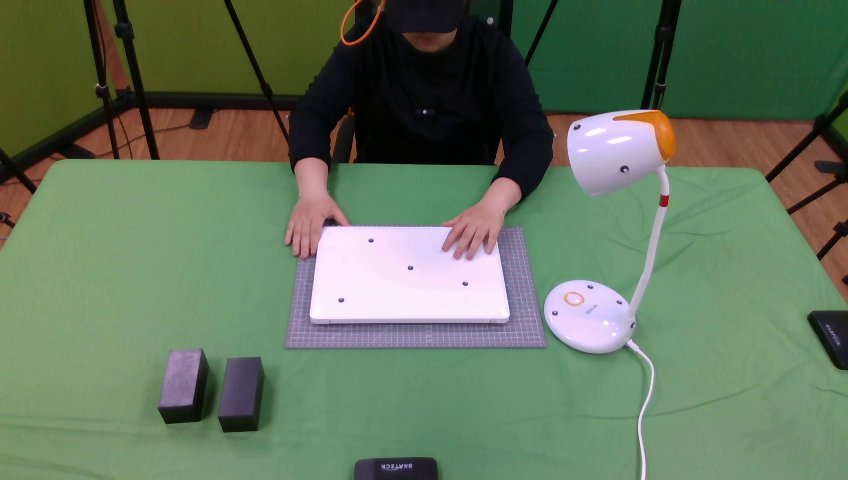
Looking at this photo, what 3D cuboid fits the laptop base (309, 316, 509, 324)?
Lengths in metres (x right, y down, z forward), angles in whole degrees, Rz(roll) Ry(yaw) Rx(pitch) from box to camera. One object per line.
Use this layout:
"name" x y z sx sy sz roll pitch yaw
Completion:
"laptop base" -0.028 0.065 1.136 0.355 0.023 0.234 0 42 -4

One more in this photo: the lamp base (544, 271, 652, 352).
"lamp base" 0.310 0.086 1.029 0.178 0.181 0.160 32 52 21

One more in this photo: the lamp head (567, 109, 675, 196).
"lamp head" 0.272 -0.123 0.818 0.122 0.113 0.112 -9 35 37

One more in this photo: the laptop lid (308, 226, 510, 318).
"laptop lid" -0.028 0.054 1.128 0.357 0.013 0.240 2 44 -3
